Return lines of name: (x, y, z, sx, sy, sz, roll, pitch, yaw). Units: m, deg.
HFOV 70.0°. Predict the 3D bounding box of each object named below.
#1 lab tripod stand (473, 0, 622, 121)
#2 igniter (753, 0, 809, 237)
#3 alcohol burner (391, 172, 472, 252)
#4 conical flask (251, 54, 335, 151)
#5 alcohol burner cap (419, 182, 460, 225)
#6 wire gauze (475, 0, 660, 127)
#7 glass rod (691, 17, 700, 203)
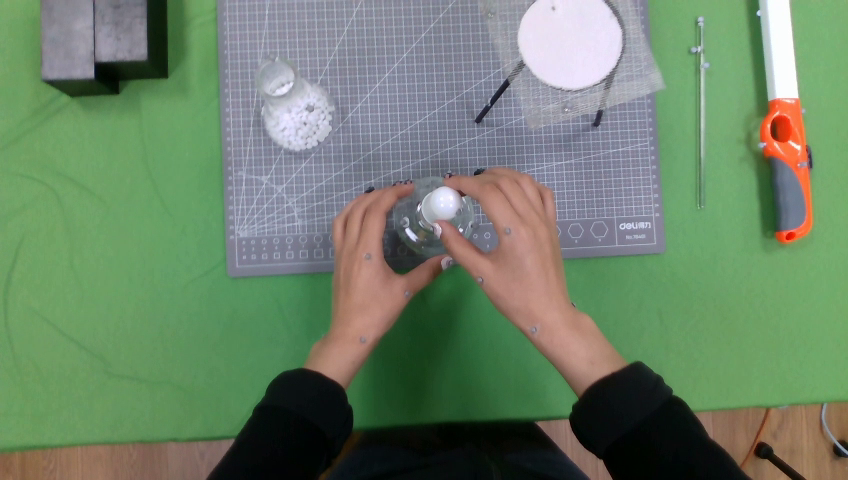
lab tripod stand: (0.117, -0.165, 0.570, 0.148, 0.131, 0.148, 0, 89, -2)
igniter: (0.371, -0.141, 0.634, 0.057, 0.025, 0.276, -3, 87, -13)
alcohol burner: (0.008, -0.028, 0.568, 0.078, 0.119, 0.078, 0, 86, -4)
conical flask: (-0.127, -0.132, 0.564, 0.075, 0.122, 0.075, 0, 86, -2)
alcohol burner cap: (0.015, -0.033, 0.513, 0.034, 0.048, 0.034, 1, 82, -10)
wire gauze: (0.119, -0.167, 0.502, 0.125, 0.011, 0.121, -20, 88, -3)
glass rod: (0.287, -0.138, 0.640, 0.008, 0.008, 0.199, 1, 87, -2)
